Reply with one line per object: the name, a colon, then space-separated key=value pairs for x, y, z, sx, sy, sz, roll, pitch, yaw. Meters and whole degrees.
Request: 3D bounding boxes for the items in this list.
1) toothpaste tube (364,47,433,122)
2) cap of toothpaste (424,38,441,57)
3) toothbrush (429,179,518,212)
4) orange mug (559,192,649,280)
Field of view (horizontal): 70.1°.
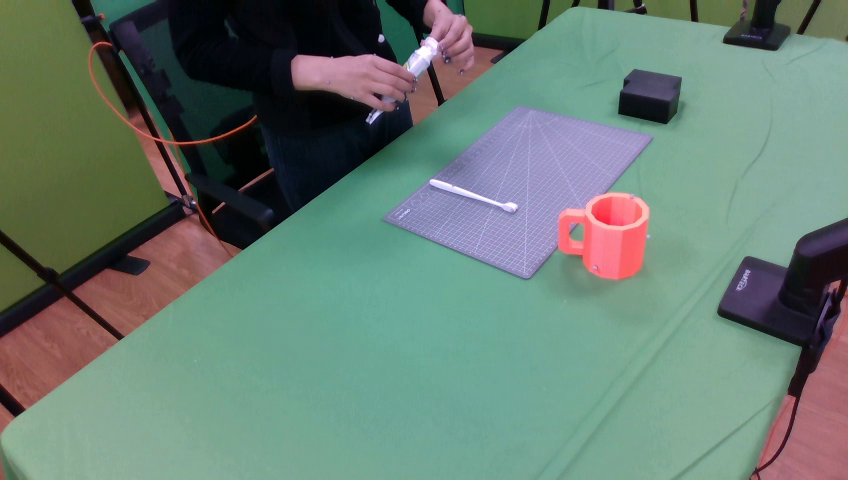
toothpaste tube: x=-0.044 y=-0.266 z=1.034 sx=0.165 sy=0.035 sz=0.055 roll=-47 pitch=19 yaw=2
cap of toothpaste: x=0.014 y=-0.328 z=1.030 sx=0.037 sy=0.037 sz=0.011 roll=28 pitch=65 yaw=36
toothbrush: x=0.084 y=-0.081 z=1.062 sx=0.180 sy=0.014 sz=0.017 roll=21 pitch=44 yaw=30
orange mug: x=0.261 y=-0.008 z=0.884 sx=0.126 sy=0.101 sz=0.083 roll=9 pitch=43 yaw=14
